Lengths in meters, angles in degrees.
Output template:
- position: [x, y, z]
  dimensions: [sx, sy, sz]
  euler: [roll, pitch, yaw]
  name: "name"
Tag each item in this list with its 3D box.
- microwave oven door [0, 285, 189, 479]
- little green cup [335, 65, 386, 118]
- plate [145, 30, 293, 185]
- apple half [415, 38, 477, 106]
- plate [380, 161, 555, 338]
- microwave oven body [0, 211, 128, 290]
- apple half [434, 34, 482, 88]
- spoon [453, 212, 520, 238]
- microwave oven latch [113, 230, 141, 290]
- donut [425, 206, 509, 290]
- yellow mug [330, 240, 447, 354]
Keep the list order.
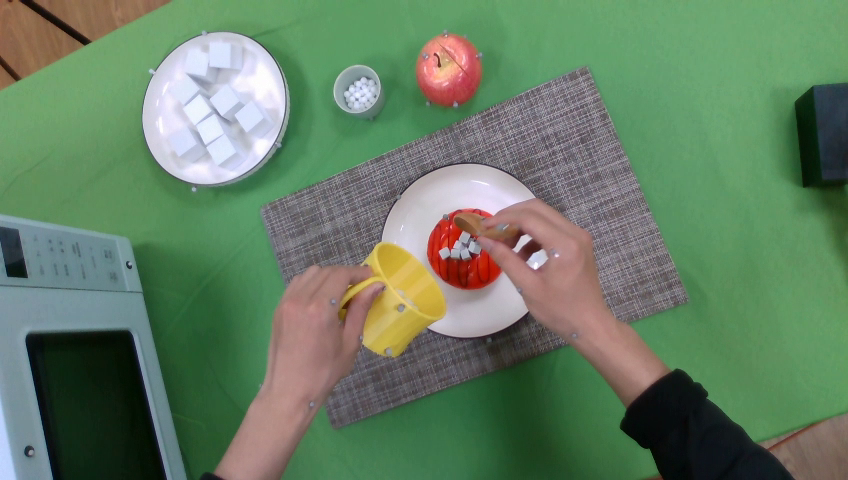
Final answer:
- position: [-0.357, 0.224, 0.663]
  dimensions: [0.039, 0.245, 0.354]
  euler: [-19, 81, 9]
  name: "microwave oven door"
- position: [-0.079, -0.186, 0.769]
  dimensions: [0.061, 0.039, 0.061]
  euler: [-1, 84, 12]
  name: "little green cup"
- position: [-0.268, -0.173, 0.807]
  dimensions: [0.207, 0.039, 0.207]
  euler: [-1, 84, 12]
  name: "plate"
- position: [0.021, -0.194, 0.732]
  dimensions: [0.053, 0.075, 0.080]
  euler: [-43, 81, 9]
  name: "apple half"
- position: [0.050, 0.011, 0.719]
  dimensions: [0.209, 0.038, 0.208]
  euler: [-1, 84, 12]
  name: "plate"
- position: [-0.505, 0.231, 0.698]
  dimensions: [0.326, 0.261, 0.440]
  euler: [-19, 81, 9]
  name: "microwave oven body"
- position: [0.049, -0.220, 0.727]
  dimensions: [0.033, 0.081, 0.081]
  euler: [-43, 77, 8]
  name: "apple half"
- position: [0.058, -0.011, 0.552]
  dimensions: [0.042, 0.193, 0.021]
  euler: [25, 92, -8]
  name: "spoon"
- position: [-0.398, 0.028, 0.795]
  dimensions: [0.030, 0.029, 0.079]
  euler: [-17, 82, 9]
  name: "microwave oven latch"
- position: [0.050, 0.009, 0.708]
  dimensions: [0.099, 0.048, 0.099]
  euler: [-1, 87, 13]
  name: "donut"
- position: [-0.042, 0.057, 0.600]
  dimensions: [0.064, 0.132, 0.099]
  euler: [-43, 67, 21]
  name: "yellow mug"
